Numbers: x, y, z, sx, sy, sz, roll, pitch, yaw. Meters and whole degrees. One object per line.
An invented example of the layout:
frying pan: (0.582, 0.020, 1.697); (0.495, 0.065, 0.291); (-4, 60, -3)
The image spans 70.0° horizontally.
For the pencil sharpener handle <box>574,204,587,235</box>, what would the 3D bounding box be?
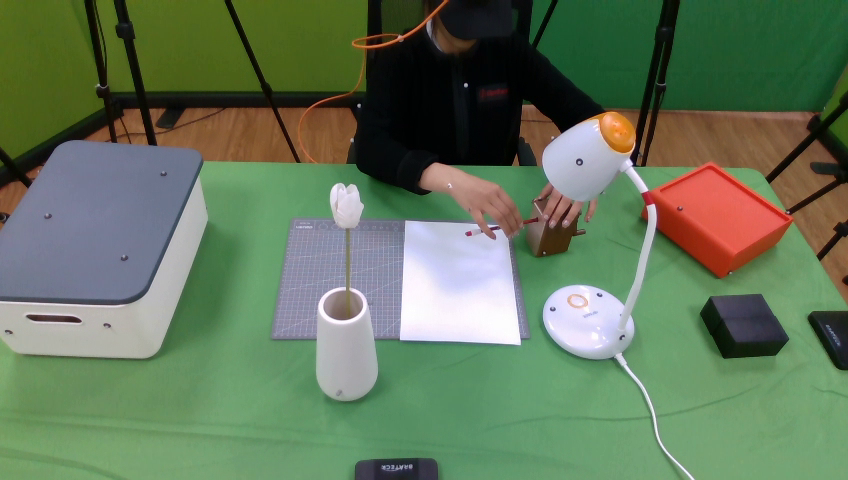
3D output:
pencil sharpener handle: (0.303, -0.043, 1.180); (0.031, 0.068, 0.036); (-11, 23, -14)

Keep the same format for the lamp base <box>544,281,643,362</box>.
lamp base: (0.303, 0.095, 1.014); (0.161, 0.181, 0.178); (-24, 54, -24)

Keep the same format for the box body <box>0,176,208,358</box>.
box body: (-0.546, 0.017, 1.045); (0.254, 0.161, 0.361); (2, 46, -2)

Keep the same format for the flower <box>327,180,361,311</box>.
flower: (-0.111, 0.086, 0.867); (0.044, 0.363, 0.038); (22, 33, 35)

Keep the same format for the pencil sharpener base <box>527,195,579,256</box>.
pencil sharpener base: (0.252, -0.028, 1.182); (0.077, 0.107, 0.061); (-11, 47, -14)

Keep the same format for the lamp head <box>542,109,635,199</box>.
lamp head: (0.253, -0.131, 0.893); (0.113, 0.123, 0.112); (10, 66, -24)

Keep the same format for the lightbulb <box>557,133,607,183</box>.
lightbulb: (0.243, -0.127, 0.916); (0.059, 0.108, 0.059); (5, 67, -13)

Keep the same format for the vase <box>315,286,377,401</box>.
vase: (-0.119, 0.159, 0.911); (0.098, 0.201, 0.097); (2, 47, -2)

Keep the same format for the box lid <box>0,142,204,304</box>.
box lid: (-0.534, -0.044, 0.994); (0.263, 0.015, 0.369); (3, 45, -3)

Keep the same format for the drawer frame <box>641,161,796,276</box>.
drawer frame: (0.599, -0.051, 1.244); (0.202, 0.083, 0.212); (-24, 53, -25)

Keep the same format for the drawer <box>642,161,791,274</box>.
drawer: (0.596, -0.051, 1.246); (0.194, 0.073, 0.210); (-23, 52, -25)

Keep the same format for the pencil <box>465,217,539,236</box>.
pencil: (0.170, -0.030, 1.144); (0.194, 0.012, 0.012); (-12, 48, -12)
